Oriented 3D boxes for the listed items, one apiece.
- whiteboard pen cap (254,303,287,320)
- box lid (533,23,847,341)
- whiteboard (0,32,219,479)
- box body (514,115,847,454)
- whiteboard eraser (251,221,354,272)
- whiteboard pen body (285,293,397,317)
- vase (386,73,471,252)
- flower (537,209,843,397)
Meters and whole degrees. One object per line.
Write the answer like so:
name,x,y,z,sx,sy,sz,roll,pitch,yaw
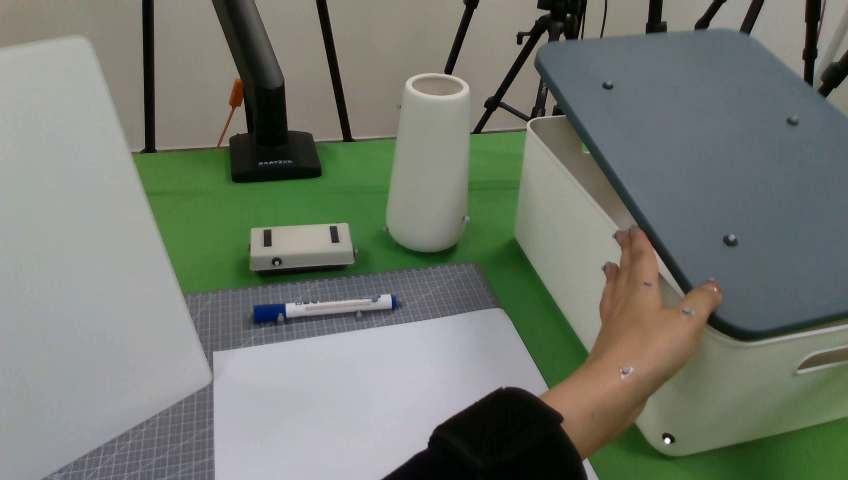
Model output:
whiteboard pen cap,-0.155,0.072,0.613,0.033,0.018,0.018,-1,37,-14
box lid,0.277,-0.083,0.540,0.264,0.015,0.367,-10,51,-12
whiteboard,-0.331,0.019,0.469,0.217,0.307,0.142,-28,29,-36
box body,0.272,0.017,0.626,0.255,0.161,0.360,-7,38,-15
whiteboard eraser,-0.138,0.009,0.684,0.113,0.042,0.055,-5,36,-12
whiteboard pen body,-0.097,0.068,0.626,0.141,0.017,0.017,-4,38,-12
vase,0.010,-0.084,0.696,0.098,0.201,0.097,4,37,-3
flower,0.279,0.062,0.677,0.358,0.038,0.044,35,42,30
